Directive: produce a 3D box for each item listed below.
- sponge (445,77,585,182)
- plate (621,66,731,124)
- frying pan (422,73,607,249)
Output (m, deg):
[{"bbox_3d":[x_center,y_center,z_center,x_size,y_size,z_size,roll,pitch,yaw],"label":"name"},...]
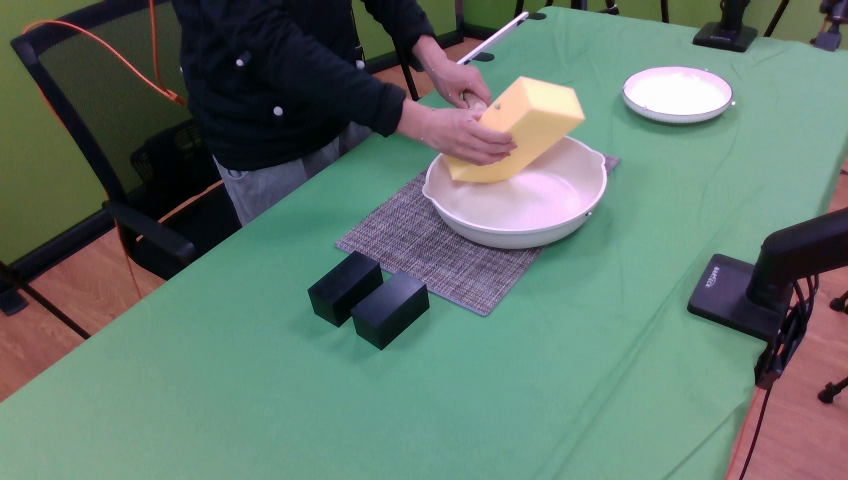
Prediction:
[{"bbox_3d":[0.143,-0.172,0.993,0.119,0.206,0.060,2,64,-36],"label":"sponge"},{"bbox_3d":[0.503,-0.288,1.221,0.207,0.039,0.206,-4,41,4],"label":"plate"},{"bbox_3d":[0.130,-0.161,1.069,0.307,0.103,0.484,-10,49,-5],"label":"frying pan"}]
